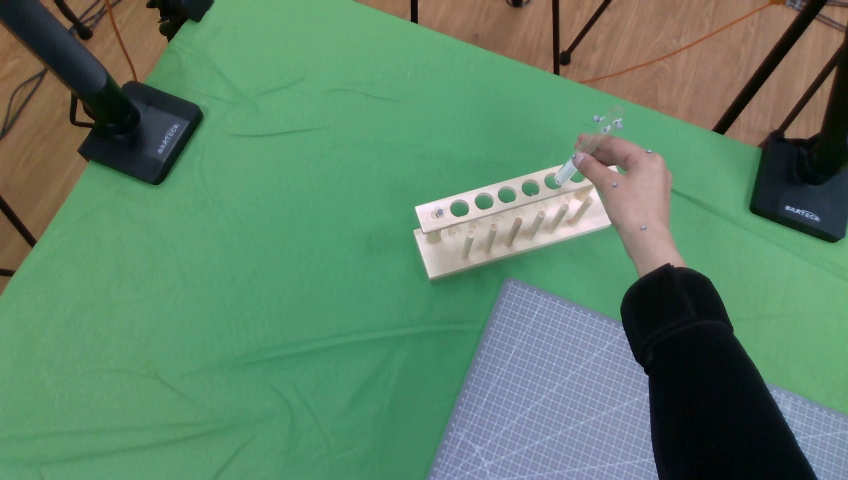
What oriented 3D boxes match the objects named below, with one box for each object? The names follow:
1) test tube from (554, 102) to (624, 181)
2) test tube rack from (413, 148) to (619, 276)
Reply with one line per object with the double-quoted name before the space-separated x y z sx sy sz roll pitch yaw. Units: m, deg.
"test tube" 0.164 -0.096 0.620 0.017 0.151 0.017 3 71 -8
"test tube rack" 0.112 -0.032 0.729 0.242 0.085 0.066 -16 71 -8
